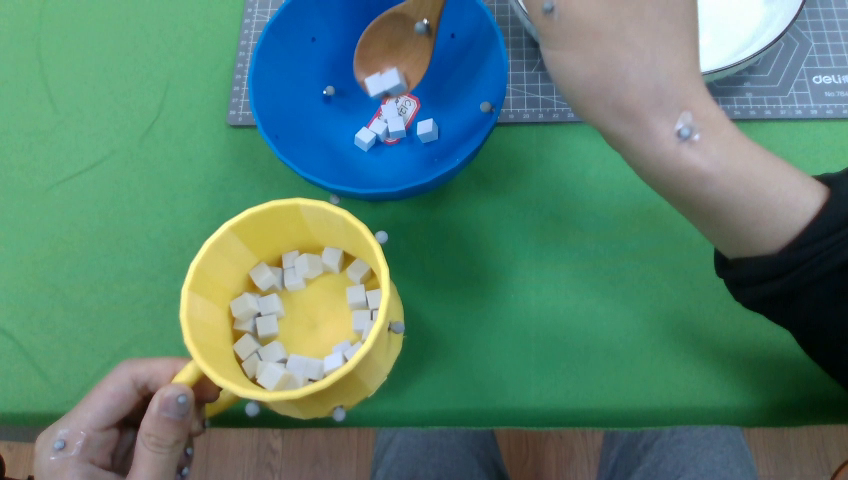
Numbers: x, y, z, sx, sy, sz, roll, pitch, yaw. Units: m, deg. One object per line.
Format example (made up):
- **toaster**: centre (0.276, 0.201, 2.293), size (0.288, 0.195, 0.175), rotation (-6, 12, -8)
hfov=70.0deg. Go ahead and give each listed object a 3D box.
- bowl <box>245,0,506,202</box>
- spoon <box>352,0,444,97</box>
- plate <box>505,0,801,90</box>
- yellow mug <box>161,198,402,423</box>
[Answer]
- **bowl**: centre (-0.025, -0.085, 0.381), size (0.151, 0.077, 0.150), rotation (-1, 74, 4)
- **spoon**: centre (0.018, -0.129, 0.281), size (0.042, 0.194, 0.021), rotation (46, 53, -6)
- **plate**: centre (0.155, -0.191, 0.429), size (0.209, 0.038, 0.207), rotation (-1, 70, 3)
- **yellow mug**: centre (-0.076, 0.046, 0.309), size (0.131, 0.064, 0.099), rotation (-41, 71, -11)
